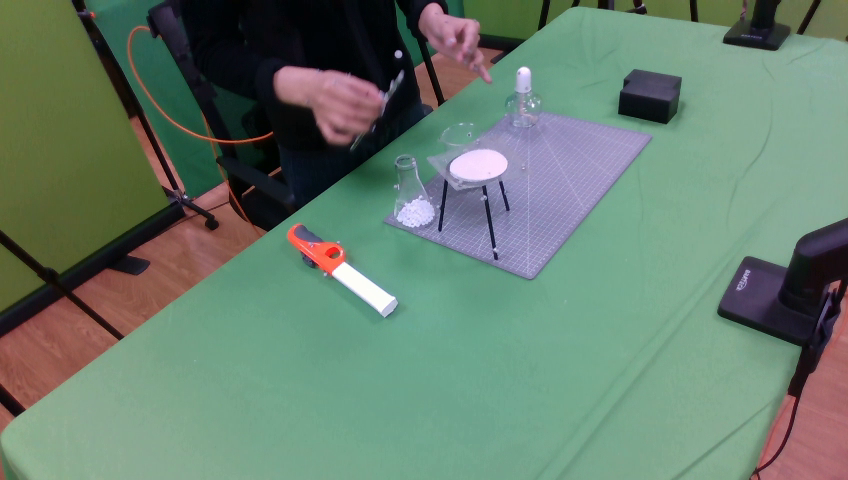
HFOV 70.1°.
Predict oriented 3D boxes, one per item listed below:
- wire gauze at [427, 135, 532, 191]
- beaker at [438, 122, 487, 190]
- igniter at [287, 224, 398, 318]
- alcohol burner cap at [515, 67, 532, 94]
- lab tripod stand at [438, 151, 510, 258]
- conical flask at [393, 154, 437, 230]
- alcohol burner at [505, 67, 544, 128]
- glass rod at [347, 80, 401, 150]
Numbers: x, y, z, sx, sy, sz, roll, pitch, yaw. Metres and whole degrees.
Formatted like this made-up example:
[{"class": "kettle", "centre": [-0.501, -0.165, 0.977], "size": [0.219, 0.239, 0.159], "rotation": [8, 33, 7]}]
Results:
[{"class": "wire gauze", "centre": [0.081, -0.115, 0.909], "size": [0.125, 0.011, 0.120], "rotation": [-18, 39, -11]}, {"class": "beaker", "centre": [0.072, -0.147, 1.080], "size": [0.084, 0.101, 0.073], "rotation": [-5, 40, 7]}, {"class": "igniter", "centre": [-0.139, 0.042, 0.958], "size": [0.057, 0.025, 0.274], "rotation": [-42, 49, -19]}, {"class": "alcohol burner cap", "centre": [0.197, -0.315, 1.187], "size": [0.034, 0.048, 0.033], "rotation": [-3, 47, 3]}, {"class": "lab tripod stand", "centre": [0.087, -0.064, 0.952], "size": [0.148, 0.132, 0.147], "rotation": [-6, 38, 5]}, {"class": "conical flask", "centre": [-0.022, -0.082, 1.003], "size": [0.075, 0.122, 0.075], "rotation": [-6, 40, 5]}, {"class": "alcohol burner", "centre": [0.201, -0.288, 1.211], "size": [0.078, 0.119, 0.077], "rotation": [-6, 39, 5]}, {"class": "glass rod", "centre": [-0.079, -0.185, 0.916], "size": [0.008, 0.199, 0.008], "rotation": [12, 64, -25]}]
